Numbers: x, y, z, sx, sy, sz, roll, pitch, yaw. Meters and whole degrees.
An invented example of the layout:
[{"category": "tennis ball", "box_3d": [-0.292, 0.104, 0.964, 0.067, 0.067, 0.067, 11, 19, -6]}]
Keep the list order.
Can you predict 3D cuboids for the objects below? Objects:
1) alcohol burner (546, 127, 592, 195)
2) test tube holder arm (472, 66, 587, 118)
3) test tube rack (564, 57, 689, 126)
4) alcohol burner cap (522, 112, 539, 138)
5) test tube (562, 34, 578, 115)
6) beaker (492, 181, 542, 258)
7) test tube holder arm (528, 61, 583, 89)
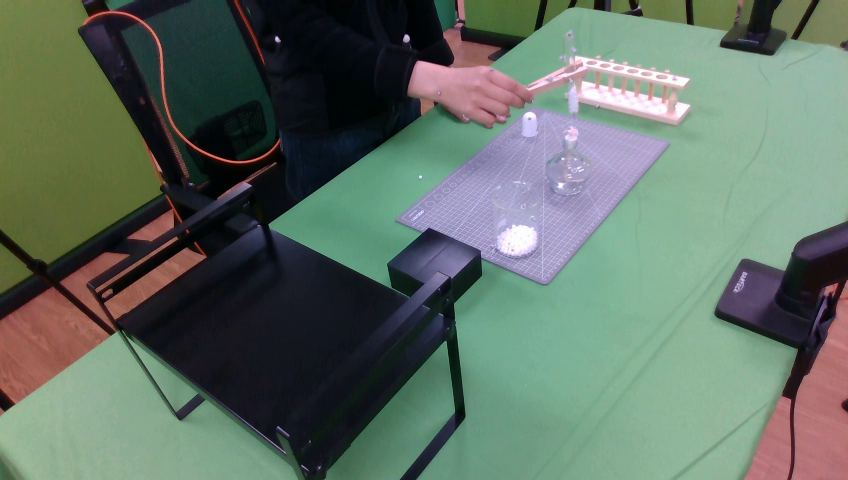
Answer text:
[{"category": "alcohol burner", "box_3d": [0.246, -0.137, 1.024, 0.078, 0.119, 0.077, -4, 38, 4]}, {"category": "test tube holder arm", "box_3d": [0.156, -0.221, 0.901, 0.178, 0.015, 0.013, -21, 51, 3]}, {"category": "test tube rack", "box_3d": [0.411, -0.311, 1.230, 0.240, 0.085, 0.067, 24, 49, 32]}, {"category": "alcohol burner cap", "box_3d": [0.210, -0.230, 1.195, 0.034, 0.048, 0.033, -6, 41, 5]}, {"category": "test tube", "box_3d": [0.220, -0.244, 0.906, 0.017, 0.151, 0.017, -8, 55, 12]}, {"category": "beaker", "box_3d": [0.144, -0.030, 0.925, 0.073, 0.100, 0.084, 23, 48, 31]}, {"category": "test tube holder arm", "box_3d": [0.196, -0.242, 0.903, 0.088, 0.015, 0.010, -26, 52, -1]}]
